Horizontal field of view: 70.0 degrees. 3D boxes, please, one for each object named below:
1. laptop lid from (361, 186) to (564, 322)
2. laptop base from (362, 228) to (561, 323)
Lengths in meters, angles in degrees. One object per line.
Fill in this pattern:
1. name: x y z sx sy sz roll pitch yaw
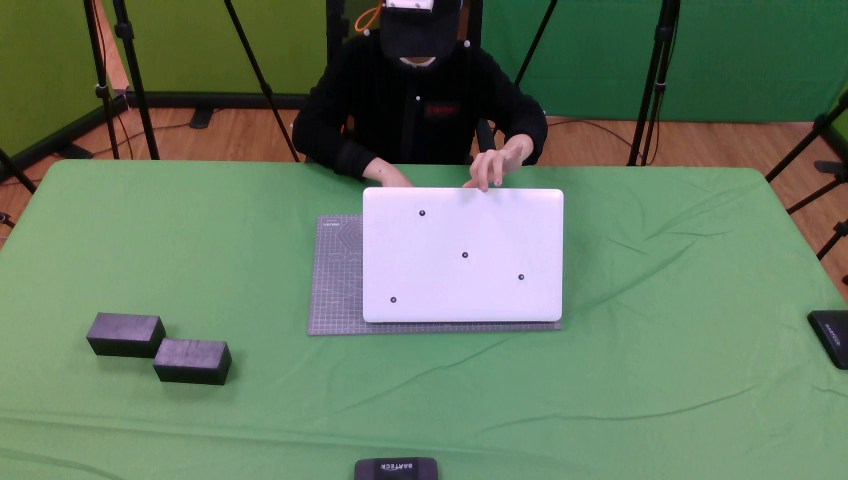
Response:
1. laptop lid: 0.070 0.025 1.048 0.357 0.241 0.013 2 2 -4
2. laptop base: 0.064 0.063 1.142 0.355 0.023 0.234 0 42 -4
